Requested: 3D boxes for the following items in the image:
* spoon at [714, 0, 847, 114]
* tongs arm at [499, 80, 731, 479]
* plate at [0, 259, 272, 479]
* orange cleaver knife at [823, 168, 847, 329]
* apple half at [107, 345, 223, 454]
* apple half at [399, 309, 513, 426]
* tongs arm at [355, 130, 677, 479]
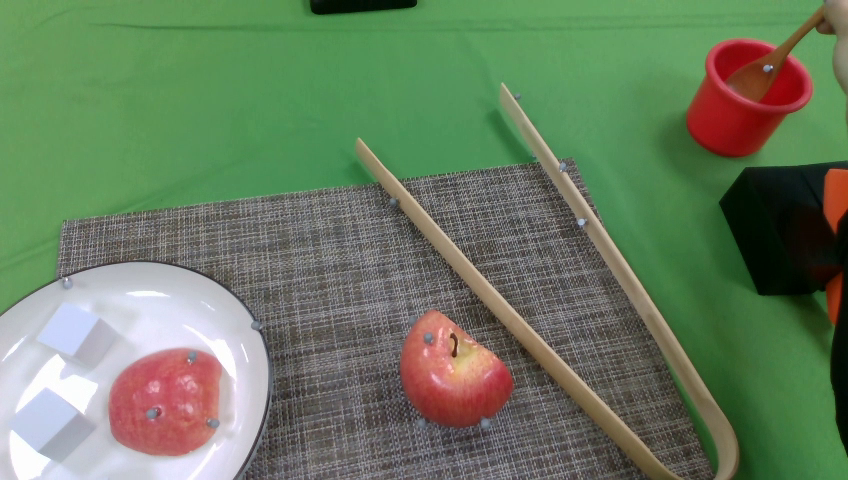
[{"bbox_3d":[0.327,-0.179,0.518,0.022,0.194,0.041,-3,62,-24],"label":"spoon"},{"bbox_3d":[0.132,0.009,0.500,0.051,0.027,0.381,-18,62,-17],"label":"tongs arm"},{"bbox_3d":[-0.205,0.109,0.403,0.209,0.038,0.207,2,57,-3],"label":"plate"},{"bbox_3d":[0.340,0.045,0.468,0.012,0.077,0.211,-3,88,-7],"label":"orange cleaver knife"},{"bbox_3d":[-0.175,0.102,0.405,0.081,0.033,0.080,4,57,-6],"label":"apple half"},{"bbox_3d":[0.013,0.094,0.411,0.080,0.075,0.053,39,66,15],"label":"apple half"},{"bbox_3d":[0.059,0.041,0.475,0.028,0.028,0.384,-30,65,-26],"label":"tongs arm"}]
